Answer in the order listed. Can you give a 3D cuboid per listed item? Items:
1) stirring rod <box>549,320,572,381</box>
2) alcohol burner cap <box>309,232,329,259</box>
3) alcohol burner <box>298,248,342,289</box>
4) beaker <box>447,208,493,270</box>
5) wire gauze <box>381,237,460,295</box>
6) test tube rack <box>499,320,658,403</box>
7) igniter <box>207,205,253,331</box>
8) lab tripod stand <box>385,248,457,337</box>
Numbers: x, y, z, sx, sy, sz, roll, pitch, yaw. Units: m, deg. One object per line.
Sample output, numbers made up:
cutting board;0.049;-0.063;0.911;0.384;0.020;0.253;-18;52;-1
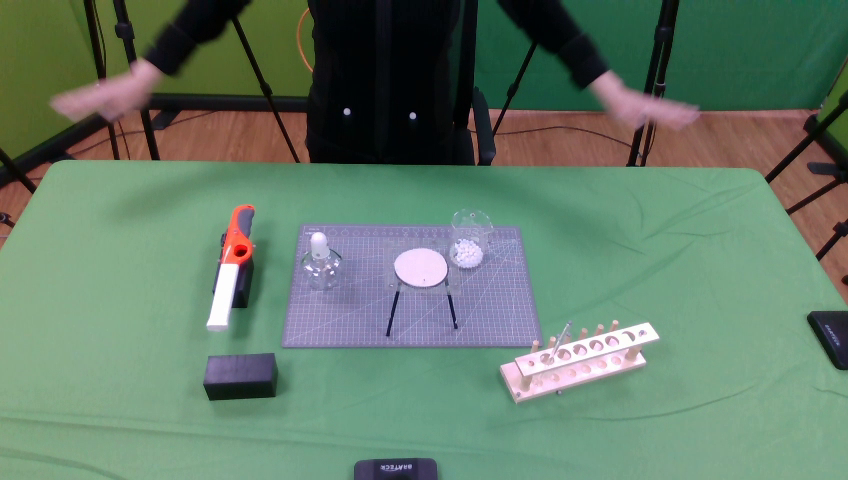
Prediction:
stirring rod;0.201;0.167;0.901;0.006;0.177;0.014;-16;54;-10
alcohol burner cap;-0.185;0.008;1.058;0.034;0.048;0.033;-1;43;1
alcohol burner;-0.187;0.032;1.084;0.078;0.120;0.077;1;46;-1
beaker;0.084;0.001;1.147;0.084;0.101;0.073;16;47;9
wire gauze;-0.008;0.040;0.984;0.125;0.011;0.120;0;44;-4
test tube rack;0.252;0.187;0.994;0.243;0.085;0.066;-12;48;-15
igniter;-0.339;0.038;1.066;0.057;0.025;0.274;2;48;-7
lab tripod stand;-0.010;0.087;1.032;0.148;0.132;0.147;1;45;-1
